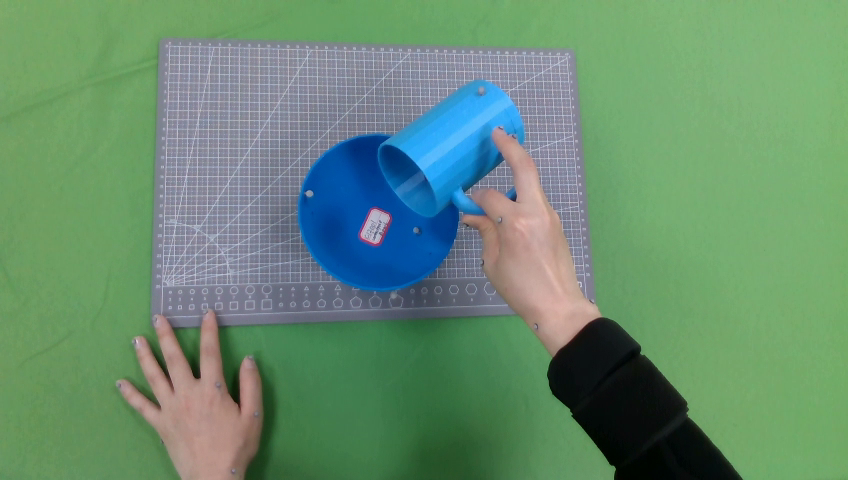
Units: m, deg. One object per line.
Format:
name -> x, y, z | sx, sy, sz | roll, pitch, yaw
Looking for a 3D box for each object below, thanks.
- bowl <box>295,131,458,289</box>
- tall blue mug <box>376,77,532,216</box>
bowl -> -0.047, -0.023, 0.593 | 0.152, 0.077, 0.151 | 1, 80, -8
tall blue mug -> 0.033, -0.077, 0.519 | 0.108, 0.106, 0.078 | -39, 131, -22
